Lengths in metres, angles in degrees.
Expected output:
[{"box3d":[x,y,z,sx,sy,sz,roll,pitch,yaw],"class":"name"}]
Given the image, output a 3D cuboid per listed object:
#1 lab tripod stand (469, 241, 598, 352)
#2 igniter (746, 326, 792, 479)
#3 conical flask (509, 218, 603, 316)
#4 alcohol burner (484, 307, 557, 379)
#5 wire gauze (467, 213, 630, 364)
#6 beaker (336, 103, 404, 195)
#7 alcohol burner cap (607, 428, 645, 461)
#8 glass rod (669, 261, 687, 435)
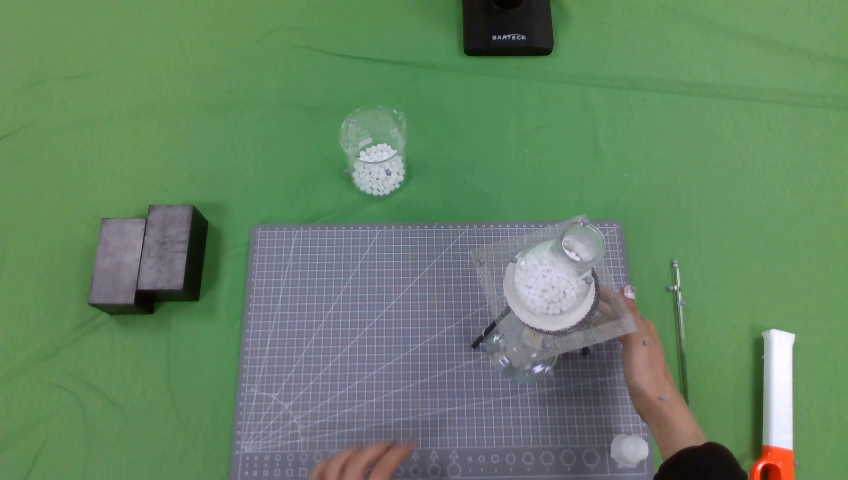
[{"box3d":[0.118,0.067,0.636,0.148,0.132,0.147,0,72,0],"class":"lab tripod stand"},{"box3d":[0.371,0.228,0.644,0.057,0.025,0.275,15,71,-7],"class":"igniter"},{"box3d":[0.118,0.019,0.520,0.075,0.122,0.075,0,73,-1],"class":"conical flask"},{"box3d":[0.104,0.105,0.634,0.078,0.119,0.077,1,72,-2],"class":"alcohol burner"},{"box3d":[0.118,0.044,0.575,0.125,0.011,0.120,-16,75,-8],"class":"wire gauze"},{"box3d":[-0.058,-0.104,0.714,0.084,0.101,0.073,-40,76,-14],"class":"beaker"},{"box3d":[0.214,0.215,0.635,0.034,0.048,0.033,1,71,-1],"class":"alcohol burner cap"},{"box3d":[0.289,0.118,0.690,0.008,0.008,0.198,4,70,0],"class":"glass rod"}]
